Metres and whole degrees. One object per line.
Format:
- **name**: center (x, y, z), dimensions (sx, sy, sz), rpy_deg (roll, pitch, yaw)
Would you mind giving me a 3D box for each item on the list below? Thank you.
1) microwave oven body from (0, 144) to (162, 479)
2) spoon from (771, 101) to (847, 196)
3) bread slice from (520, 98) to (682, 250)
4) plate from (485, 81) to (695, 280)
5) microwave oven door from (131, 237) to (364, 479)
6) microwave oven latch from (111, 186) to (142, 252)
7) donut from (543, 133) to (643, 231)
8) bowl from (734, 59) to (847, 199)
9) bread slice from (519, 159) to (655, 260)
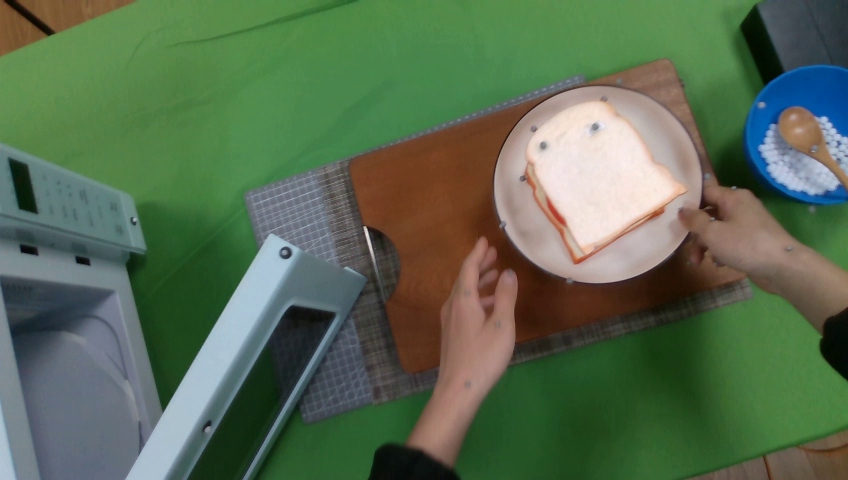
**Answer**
- **microwave oven body**: center (-0.473, 0.175, 0.641), dimensions (0.326, 0.261, 0.439), rpy_deg (-20, 80, 3)
- **spoon**: center (0.421, -0.070, 0.623), dimensions (0.041, 0.022, 0.191), rpy_deg (-20, 57, 3)
- **bread slice**: center (0.156, -0.068, 0.576), dimensions (0.107, 0.018, 0.133), rpy_deg (-37, 71, 5)
- **plate**: center (0.169, -0.060, 0.633), dimensions (0.207, 0.039, 0.207), rpy_deg (-1, 83, 10)
- **microwave oven door**: center (-0.186, 0.171, 0.599), dimensions (0.039, 0.245, 0.355), rpy_deg (28, 86, 11)
- **microwave oven latch**: center (-0.380, -0.025, 0.756), dimensions (0.030, 0.029, 0.079), rpy_deg (-21, 80, 3)
- **donut**: center (0.167, -0.057, 0.604), dimensions (0.099, 0.048, 0.099), rpy_deg (0, 85, 2)
- **bowl**: center (0.409, -0.110, 0.661), dimensions (0.151, 0.077, 0.151), rpy_deg (-1, 82, 8)
- **bread slice**: center (0.162, -0.058, 0.637), dimensions (0.105, 0.019, 0.131), rpy_deg (-33, 81, 3)
